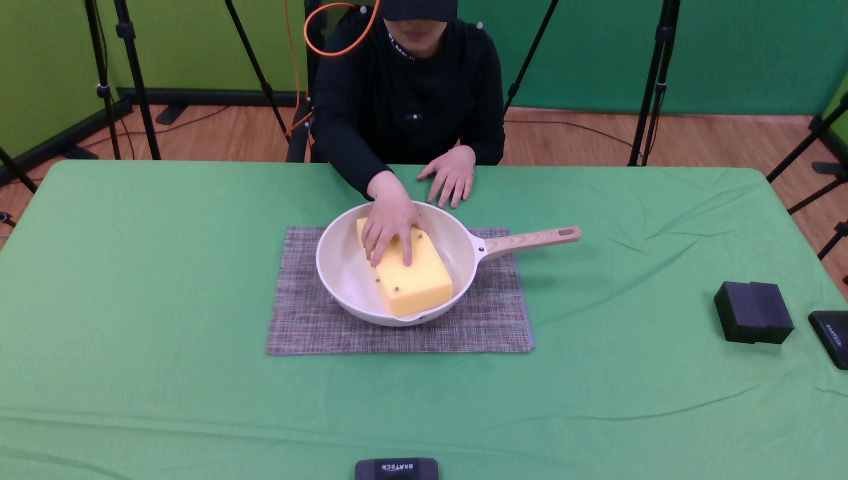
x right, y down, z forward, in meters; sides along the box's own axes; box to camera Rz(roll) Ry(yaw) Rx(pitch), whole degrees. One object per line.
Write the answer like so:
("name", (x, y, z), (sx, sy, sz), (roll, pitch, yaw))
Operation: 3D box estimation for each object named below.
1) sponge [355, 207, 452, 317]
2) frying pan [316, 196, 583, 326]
("sponge", (-0.041, 0.038, 1.121), (0.118, 0.061, 0.205), (-15, 49, -16))
("frying pan", (0.054, 0.027, 1.114), (0.488, 0.103, 0.304), (-9, 48, -1))
